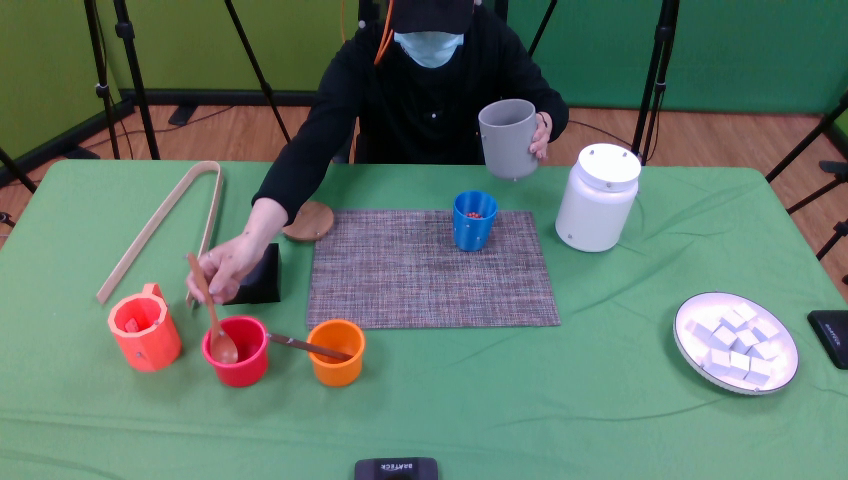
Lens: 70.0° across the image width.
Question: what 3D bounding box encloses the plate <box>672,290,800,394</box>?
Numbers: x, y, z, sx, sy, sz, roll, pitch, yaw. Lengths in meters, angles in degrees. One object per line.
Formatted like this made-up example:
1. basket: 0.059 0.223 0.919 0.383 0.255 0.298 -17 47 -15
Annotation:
1. plate: 0.533 0.178 1.050 0.208 0.039 0.206 2 46 -2

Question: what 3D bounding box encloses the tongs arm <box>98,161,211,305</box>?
1. tongs arm: -0.519 -0.029 1.184 0.028 0.028 0.385 5 46 13

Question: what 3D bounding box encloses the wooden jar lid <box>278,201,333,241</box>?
1. wooden jar lid: -0.236 -0.036 1.213 0.108 0.021 0.107 0 47 0

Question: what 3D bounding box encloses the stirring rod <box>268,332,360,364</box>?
1. stirring rod: -0.167 0.169 0.942 0.177 0.006 0.014 26 26 -41

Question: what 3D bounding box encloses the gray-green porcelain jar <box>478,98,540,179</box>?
1. gray-green porcelain jar: 0.163 -0.188 1.149 0.106 0.127 0.105 -9 37 7

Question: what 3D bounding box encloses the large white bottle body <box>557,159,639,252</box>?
1. large white bottle body: 0.340 -0.081 1.185 0.131 0.185 0.130 2 46 -1

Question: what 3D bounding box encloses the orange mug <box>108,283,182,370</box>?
1. orange mug: -0.445 0.133 0.983 0.083 0.101 0.125 -1 50 -5

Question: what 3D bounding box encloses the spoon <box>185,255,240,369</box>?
1. spoon: -0.331 0.113 0.942 0.041 0.194 0.021 -25 21 -36

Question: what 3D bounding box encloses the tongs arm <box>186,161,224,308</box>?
1. tongs arm: -0.435 -0.025 1.180 0.051 0.027 0.382 -3 46 0

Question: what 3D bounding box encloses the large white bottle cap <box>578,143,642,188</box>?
1. large white bottle cap: 0.344 -0.139 1.123 0.115 0.018 0.114 2 46 -2

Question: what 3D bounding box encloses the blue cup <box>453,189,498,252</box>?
1. blue cup: 0.094 -0.032 1.174 0.093 0.101 0.092 3 45 -3
